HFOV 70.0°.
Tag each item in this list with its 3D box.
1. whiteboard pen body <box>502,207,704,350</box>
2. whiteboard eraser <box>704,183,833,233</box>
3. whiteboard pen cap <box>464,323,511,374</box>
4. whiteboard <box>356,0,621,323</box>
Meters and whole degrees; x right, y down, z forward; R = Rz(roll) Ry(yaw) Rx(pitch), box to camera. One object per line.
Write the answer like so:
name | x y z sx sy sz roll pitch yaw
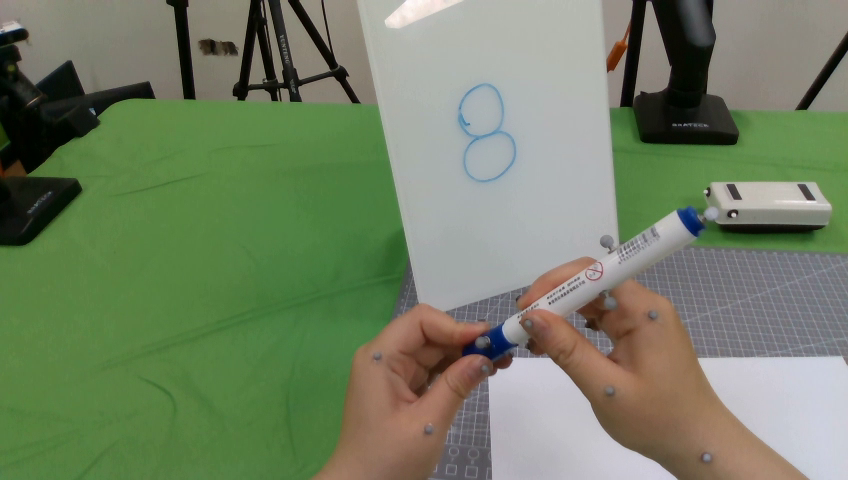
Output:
whiteboard pen body | 0.078 0.028 0.309 0.017 0.141 0.017 31 36 -26
whiteboard eraser | 0.363 -0.034 0.643 0.112 0.042 0.055 1 42 6
whiteboard pen cap | 0.038 0.060 0.341 0.018 0.033 0.018 30 32 -21
whiteboard | 0.055 -0.109 0.604 0.217 0.307 0.142 -15 20 -12
